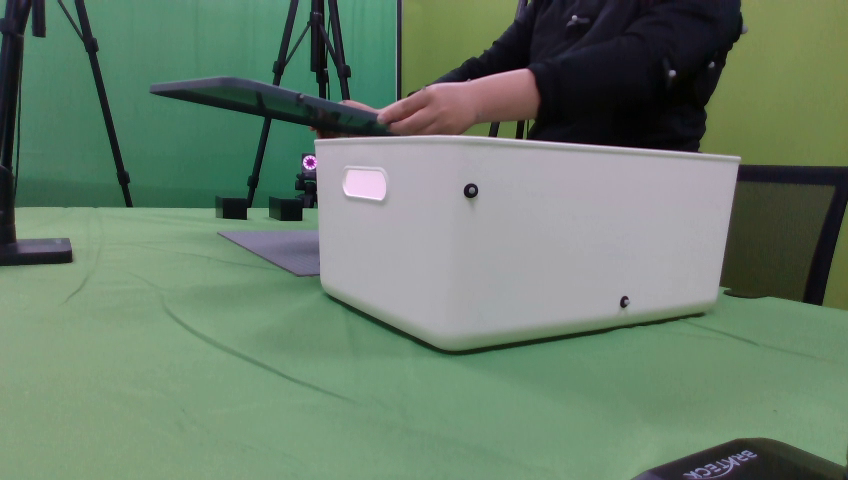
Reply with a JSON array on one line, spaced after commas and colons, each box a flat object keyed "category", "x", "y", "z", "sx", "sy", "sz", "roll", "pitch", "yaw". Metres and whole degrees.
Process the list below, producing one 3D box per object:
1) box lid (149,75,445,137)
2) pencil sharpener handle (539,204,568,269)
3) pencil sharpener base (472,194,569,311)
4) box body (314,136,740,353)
[{"category": "box lid", "x": -0.175, "y": -0.186, "z": 0.885, "sx": 0.262, "sy": 0.015, "sz": 0.374, "roll": 11, "pitch": 5, "yaw": 43}, {"category": "pencil sharpener handle", "x": 0.138, "y": -0.003, "z": 0.621, "sx": 0.031, "sy": 0.067, "sz": 0.036, "roll": 0, "pitch": 16, "yaw": -33}, {"category": "pencil sharpener base", "x": 0.095, "y": 0.010, "z": 0.592, "sx": 0.077, "sy": 0.107, "sz": 0.061, "roll": 0, "pitch": 6, "yaw": -33}, {"category": "box body", "x": 0.098, "y": -0.012, "z": 0.605, "sx": 0.366, "sy": 0.160, "sz": 0.253, "roll": -2, "pitch": 8, "yaw": -33}]
